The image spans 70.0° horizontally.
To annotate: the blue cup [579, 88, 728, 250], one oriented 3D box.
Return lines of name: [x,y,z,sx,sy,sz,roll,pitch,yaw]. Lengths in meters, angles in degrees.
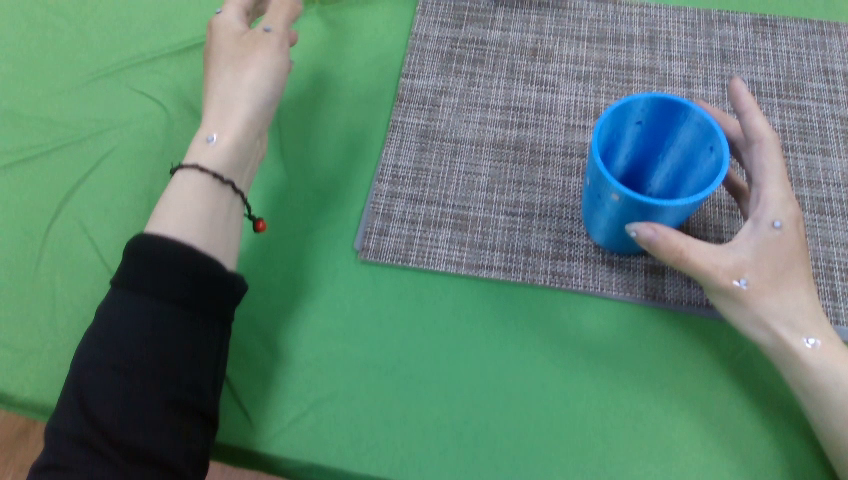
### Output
blue cup: [0.150,-0.040,0.426,0.092,0.101,0.092,-1,64,3]
